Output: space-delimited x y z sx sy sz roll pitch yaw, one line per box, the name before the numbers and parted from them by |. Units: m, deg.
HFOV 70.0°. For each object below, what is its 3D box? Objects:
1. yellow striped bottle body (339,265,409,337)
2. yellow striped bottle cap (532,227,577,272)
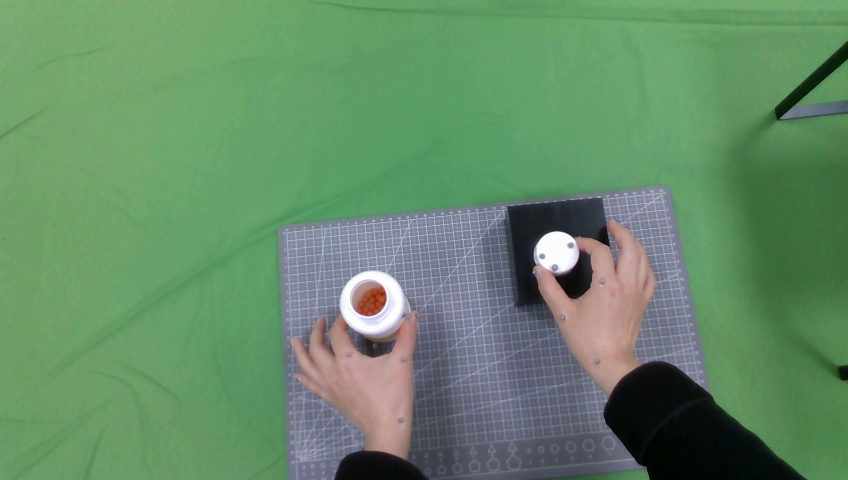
yellow striped bottle body | -0.050 0.062 0.612 0.063 0.121 0.062 0 77 2
yellow striped bottle cap | 0.132 0.009 0.615 0.044 0.019 0.044 -1 76 4
